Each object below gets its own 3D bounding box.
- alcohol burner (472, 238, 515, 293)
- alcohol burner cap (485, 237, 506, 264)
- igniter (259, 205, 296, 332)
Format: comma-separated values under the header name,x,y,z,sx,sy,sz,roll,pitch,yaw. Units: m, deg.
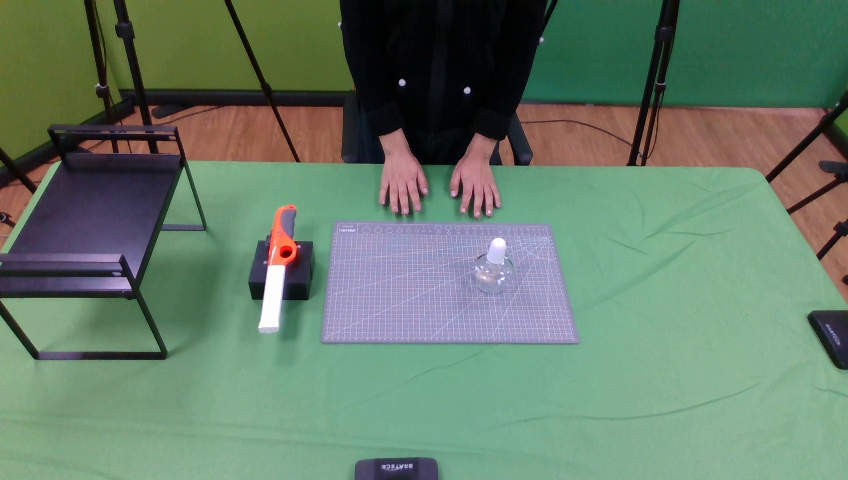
name,x,y,z,sx,sy,sz,roll,pitch,yaw
alcohol burner,0.128,0.041,1.101,0.078,0.120,0.077,1,47,-1
alcohol burner cap,0.129,0.016,1.076,0.034,0.048,0.033,6,42,-5
igniter,-0.259,0.040,1.071,0.057,0.025,0.274,0,50,-5
